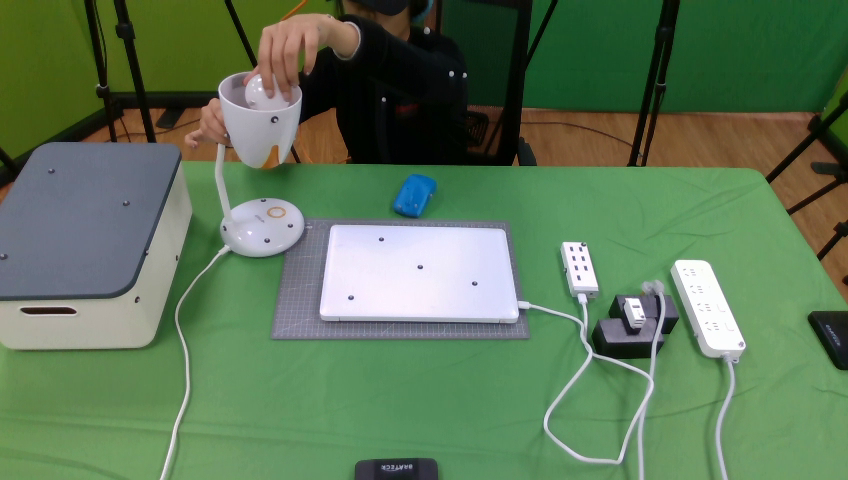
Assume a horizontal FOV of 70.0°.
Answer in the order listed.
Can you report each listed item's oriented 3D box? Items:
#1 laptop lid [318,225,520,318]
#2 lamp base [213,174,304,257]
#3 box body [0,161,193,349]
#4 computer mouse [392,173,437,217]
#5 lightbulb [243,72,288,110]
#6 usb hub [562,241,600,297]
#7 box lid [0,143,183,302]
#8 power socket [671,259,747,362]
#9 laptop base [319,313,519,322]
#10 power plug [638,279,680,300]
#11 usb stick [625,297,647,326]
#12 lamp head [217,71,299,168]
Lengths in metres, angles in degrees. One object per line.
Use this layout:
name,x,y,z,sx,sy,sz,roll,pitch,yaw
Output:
laptop lid,-0.009,0.052,1.131,0.357,0.013,0.240,2,43,-2
lamp base,-0.324,-0.074,1.135,0.160,0.181,0.179,28,53,24
box body,-0.570,0.006,1.054,0.254,0.161,0.361,-1,46,-4
computer mouse,-0.018,-0.098,1.282,0.062,0.041,0.117,20,51,13
lightbulb,-0.227,-0.185,0.860,0.059,0.108,0.059,12,37,-9
usb hub,0.300,0.055,1.162,0.049,0.025,0.124,3,46,-3
box lid,-0.567,-0.045,0.999,0.263,0.015,0.369,-1,46,-4
power socket,0.516,0.119,1.108,0.072,0.033,0.225,1,46,-2
laptop base,-0.009,0.062,1.138,0.354,0.023,0.234,1,42,-3
power plug,0.433,0.099,1.118,0.073,0.053,0.035,34,37,-16
usb stick,0.360,0.116,1.034,0.021,0.027,0.059,-2,44,-2
lamp head,-0.240,-0.168,0.876,0.112,0.123,0.111,9,45,-9
